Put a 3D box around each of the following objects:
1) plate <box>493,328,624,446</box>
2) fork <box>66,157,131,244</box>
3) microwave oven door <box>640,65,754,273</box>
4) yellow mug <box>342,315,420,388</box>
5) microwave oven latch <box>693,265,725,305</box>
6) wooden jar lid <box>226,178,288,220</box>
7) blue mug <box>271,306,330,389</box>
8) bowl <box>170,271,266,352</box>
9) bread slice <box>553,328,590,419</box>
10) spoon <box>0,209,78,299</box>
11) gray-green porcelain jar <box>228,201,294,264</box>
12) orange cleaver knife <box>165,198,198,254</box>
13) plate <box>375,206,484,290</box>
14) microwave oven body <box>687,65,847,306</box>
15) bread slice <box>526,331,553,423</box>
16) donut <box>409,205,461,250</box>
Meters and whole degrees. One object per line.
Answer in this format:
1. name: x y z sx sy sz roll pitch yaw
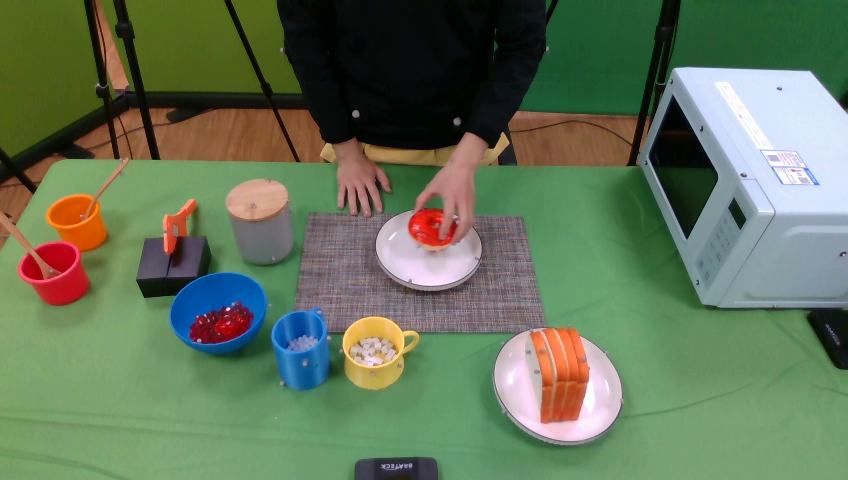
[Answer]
1. plate: 0.213 0.236 0.974 0.208 0.039 0.206 2 46 -2
2. fork: -0.608 -0.074 1.132 0.207 0.019 0.028 -52 48 10
3. microwave oven door: 0.522 -0.147 1.193 0.039 0.245 0.353 0 47 -3
4. yellow mug: -0.068 0.177 0.991 0.131 0.064 0.099 -15 50 -19
5. microwave oven latch: 0.522 0.081 1.115 0.030 0.029 0.078 2 46 -1
6. wooden jar lid: -0.296 -0.070 1.081 0.108 0.021 0.107 1 45 -1
7. blue mug: -0.188 0.163 0.969 0.082 0.106 0.116 15 47 10
8. bowl: -0.333 0.132 1.006 0.151 0.077 0.150 2 46 -2
9. bread slice: 0.226 0.201 0.932 0.018 0.135 0.106 -4 51 -4
10. spoon: -0.668 0.022 1.040 0.041 0.021 0.194 -41 105 -29
11. gray-green porcelain jar: -0.299 -0.027 1.126 0.106 0.127 0.105 2 46 -2
12. orange cleaver knife: -0.458 -0.031 1.149 0.012 0.077 0.210 -2 17 -6
13. plate: 0.009 0.019 1.161 0.209 0.038 0.208 2 47 -2
14. microwave oven body: 0.669 -0.111 1.176 0.326 0.261 0.439 0 46 -3
15. bread slice: 0.176 0.202 0.929 0.019 0.132 0.104 -9 45 -1
16. donut: 0.021 -0.025 1.136 0.099 0.048 0.098 5 47 -5
